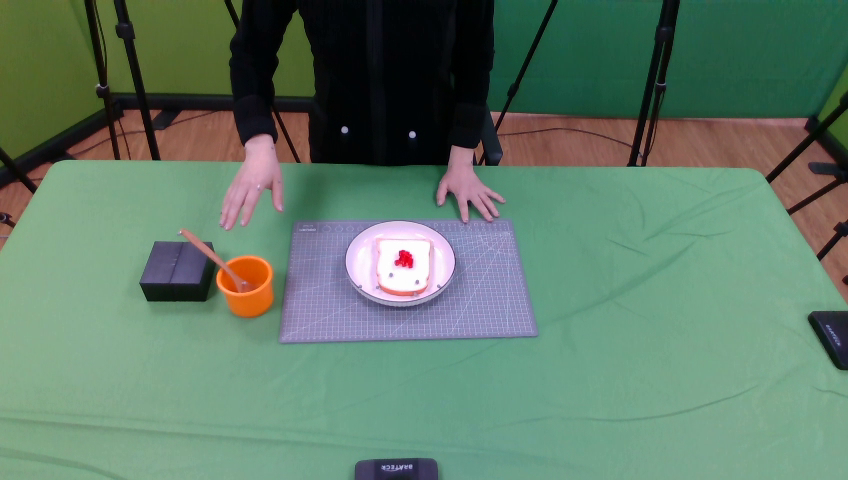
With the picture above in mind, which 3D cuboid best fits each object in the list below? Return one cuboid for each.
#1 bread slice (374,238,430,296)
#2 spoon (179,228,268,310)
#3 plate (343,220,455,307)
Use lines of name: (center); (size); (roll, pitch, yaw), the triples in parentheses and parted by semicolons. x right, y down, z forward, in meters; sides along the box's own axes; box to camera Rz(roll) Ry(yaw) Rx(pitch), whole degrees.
bread slice: (-0.039, 0.048, 1.135); (0.107, 0.018, 0.133); (-1, 46, -4)
spoon: (-0.342, 0.048, 1.037); (0.021, 0.194, 0.041); (-18, 29, 45)
plate: (-0.047, 0.046, 1.135); (0.209, 0.038, 0.208); (2, 46, -2)
